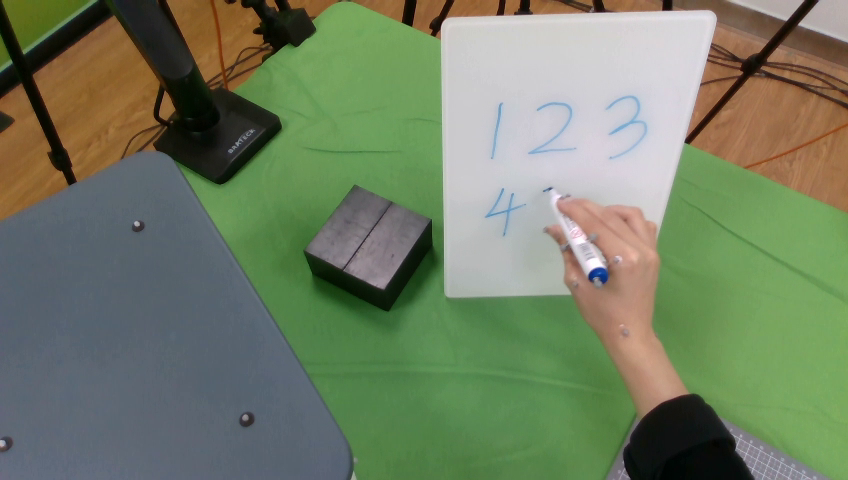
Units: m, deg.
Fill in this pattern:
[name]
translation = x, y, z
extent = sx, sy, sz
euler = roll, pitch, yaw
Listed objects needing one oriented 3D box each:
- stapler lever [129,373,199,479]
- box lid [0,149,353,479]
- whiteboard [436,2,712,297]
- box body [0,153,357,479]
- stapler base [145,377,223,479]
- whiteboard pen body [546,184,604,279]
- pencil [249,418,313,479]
[stapler lever]
translation = -0.237, 0.177, 0.544
extent = 0.026, 0.040, 0.117
euler = 2, 60, 23
[box lid]
translation = -0.251, 0.097, 0.462
extent = 0.263, 0.015, 0.368
euler = -32, 64, -17
[whiteboard]
translation = 0.122, -0.102, 0.615
extent = 0.217, 0.308, 0.142
euler = -1, 40, 1
[box body]
translation = -0.248, 0.137, 0.525
extent = 0.254, 0.162, 0.360
euler = -32, 64, -17
[stapler base]
translation = -0.230, 0.188, 0.564
extent = 0.041, 0.025, 0.129
euler = 2, 61, 23
[whiteboard pen body]
translation = 0.123, -0.013, 0.514
extent = 0.017, 0.017, 0.139
euler = -6, 35, -2
[pencil]
translation = -0.170, 0.234, 0.544
extent = 0.012, 0.012, 0.193
euler = 32, 54, 19
